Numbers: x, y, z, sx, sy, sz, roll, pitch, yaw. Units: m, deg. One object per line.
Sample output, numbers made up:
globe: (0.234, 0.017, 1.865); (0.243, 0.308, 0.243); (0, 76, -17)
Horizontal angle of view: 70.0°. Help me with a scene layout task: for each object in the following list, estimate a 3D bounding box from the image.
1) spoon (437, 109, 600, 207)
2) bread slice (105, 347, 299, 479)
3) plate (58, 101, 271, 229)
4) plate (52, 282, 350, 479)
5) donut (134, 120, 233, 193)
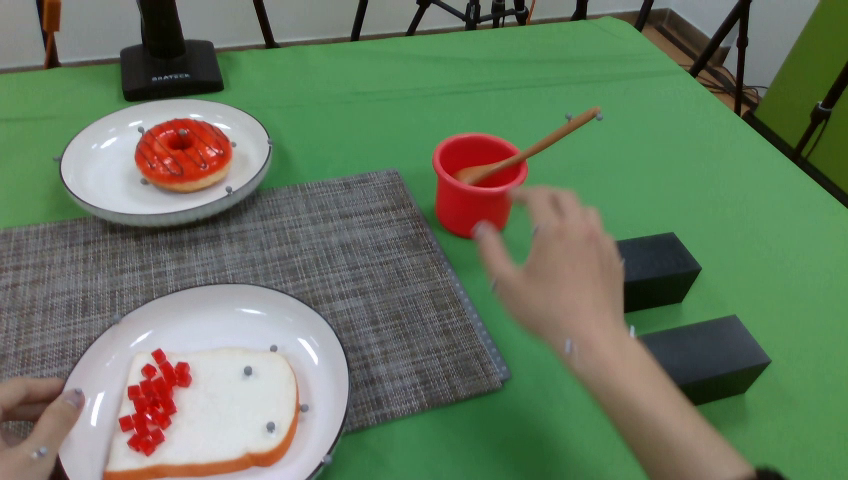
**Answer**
spoon: (0.090, -0.083, 0.617); (0.193, 0.022, 0.041); (-24, 35, 25)
bread slice: (-0.162, 0.125, 0.459); (0.132, 0.019, 0.103); (-3, 46, -8)
plate: (-0.269, -0.078, 0.646); (0.208, 0.039, 0.205); (4, 43, -3)
plate: (-0.160, 0.121, 0.459); (0.209, 0.038, 0.207); (4, 45, -3)
donut: (-0.253, -0.089, 0.642); (0.099, 0.048, 0.098); (5, 45, -4)
